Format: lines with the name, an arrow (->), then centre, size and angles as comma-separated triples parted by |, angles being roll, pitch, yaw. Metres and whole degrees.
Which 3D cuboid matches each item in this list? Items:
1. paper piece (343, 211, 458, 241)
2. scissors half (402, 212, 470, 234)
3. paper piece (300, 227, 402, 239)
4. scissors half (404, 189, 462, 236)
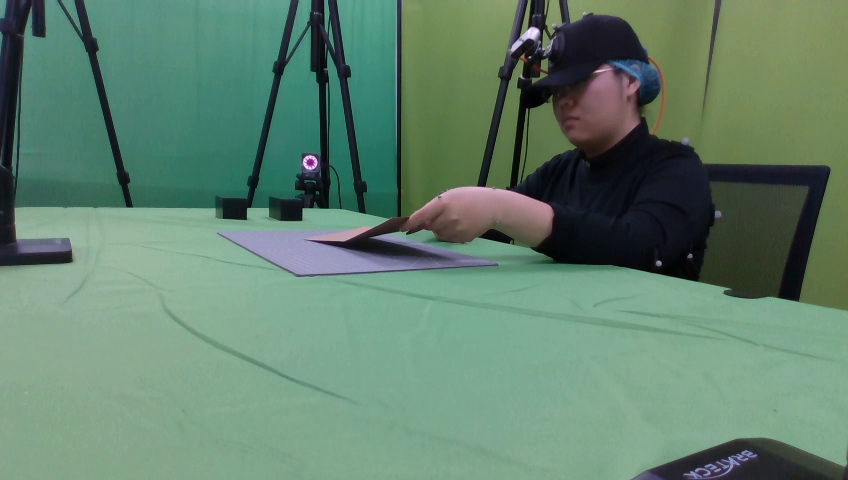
paper piece -> -0.035, -0.023, 0.932 | 0.137, 0.008, 0.137 | -14, -2, -40
scissors half -> 0.023, -0.027, 1.078 | 0.176, 0.040, 0.012 | -5, -8, -45
paper piece -> -0.120, -0.012, 1.033 | 0.136, 0.004, 0.134 | -11, 8, -40
scissors half -> 0.016, -0.048, 1.077 | 0.013, 0.040, 0.175 | -23, 13, 44
